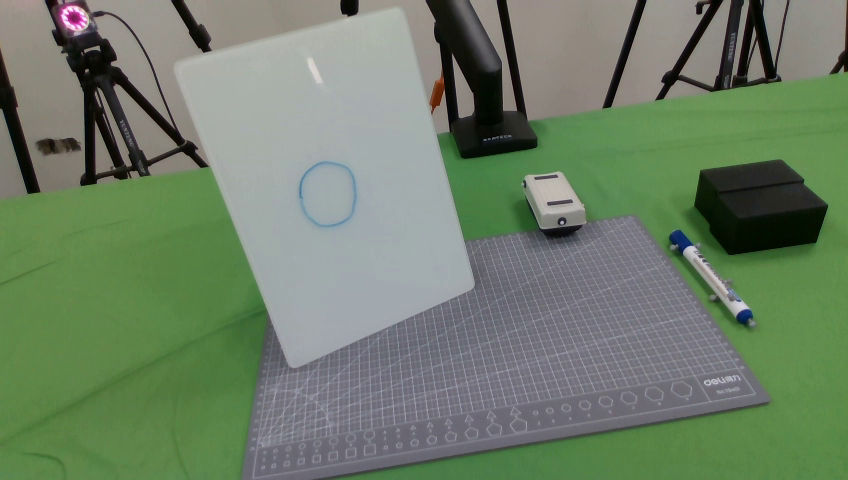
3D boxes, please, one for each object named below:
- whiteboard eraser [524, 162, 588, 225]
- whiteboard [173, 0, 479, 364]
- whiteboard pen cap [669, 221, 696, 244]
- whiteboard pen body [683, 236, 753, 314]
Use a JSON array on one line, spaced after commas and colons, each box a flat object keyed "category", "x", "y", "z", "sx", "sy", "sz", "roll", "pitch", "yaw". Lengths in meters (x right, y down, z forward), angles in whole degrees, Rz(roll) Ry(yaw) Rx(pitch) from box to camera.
[{"category": "whiteboard eraser", "x": 0.162, "y": -0.058, "z": 0.755, "sx": 0.055, "sy": 0.042, "sz": 0.111, "roll": -9, "pitch": 33, "yaw": 1}, {"category": "whiteboard", "x": -0.100, "y": -0.068, "z": 0.641, "sx": 0.217, "sy": 0.307, "sz": 0.142, "roll": -22, "pitch": 20, "yaw": -18}, {"category": "whiteboard pen cap", "x": 0.293, "y": -0.007, "z": 0.684, "sx": 0.018, "sy": 0.018, "sz": 0.033, "roll": -10, "pitch": 35, "yaw": -3}, {"category": "whiteboard pen body", "x": 0.301, "y": 0.028, "z": 0.638, "sx": 0.017, "sy": 0.017, "sz": 0.139, "roll": -10, "pitch": 36, "yaw": -3}]
